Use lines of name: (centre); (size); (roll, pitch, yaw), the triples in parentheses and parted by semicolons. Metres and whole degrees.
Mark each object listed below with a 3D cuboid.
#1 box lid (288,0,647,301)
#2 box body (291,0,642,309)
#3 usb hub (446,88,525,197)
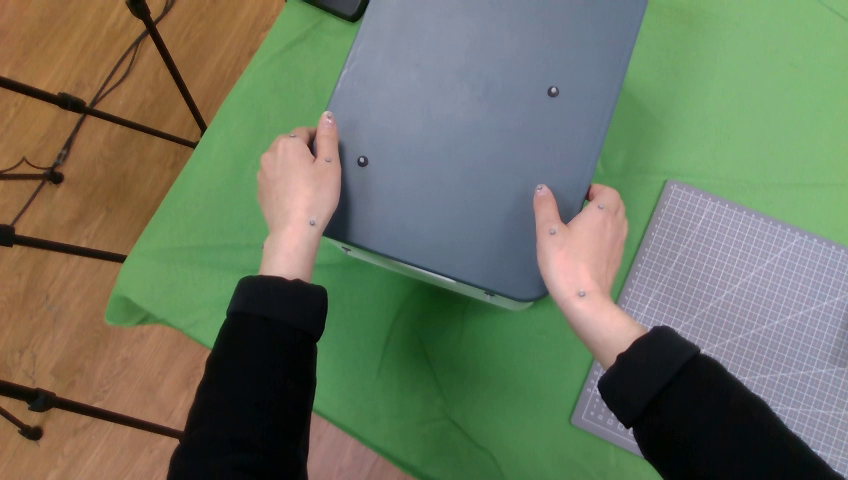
box lid: (0.047, -0.145, 0.581); (0.262, 0.015, 0.370); (18, 79, 9)
box body: (0.054, -0.129, 0.653); (0.253, 0.161, 0.363); (18, 79, 9)
usb hub: (0.073, -0.114, 0.709); (0.049, 0.025, 0.125); (23, 78, 12)
